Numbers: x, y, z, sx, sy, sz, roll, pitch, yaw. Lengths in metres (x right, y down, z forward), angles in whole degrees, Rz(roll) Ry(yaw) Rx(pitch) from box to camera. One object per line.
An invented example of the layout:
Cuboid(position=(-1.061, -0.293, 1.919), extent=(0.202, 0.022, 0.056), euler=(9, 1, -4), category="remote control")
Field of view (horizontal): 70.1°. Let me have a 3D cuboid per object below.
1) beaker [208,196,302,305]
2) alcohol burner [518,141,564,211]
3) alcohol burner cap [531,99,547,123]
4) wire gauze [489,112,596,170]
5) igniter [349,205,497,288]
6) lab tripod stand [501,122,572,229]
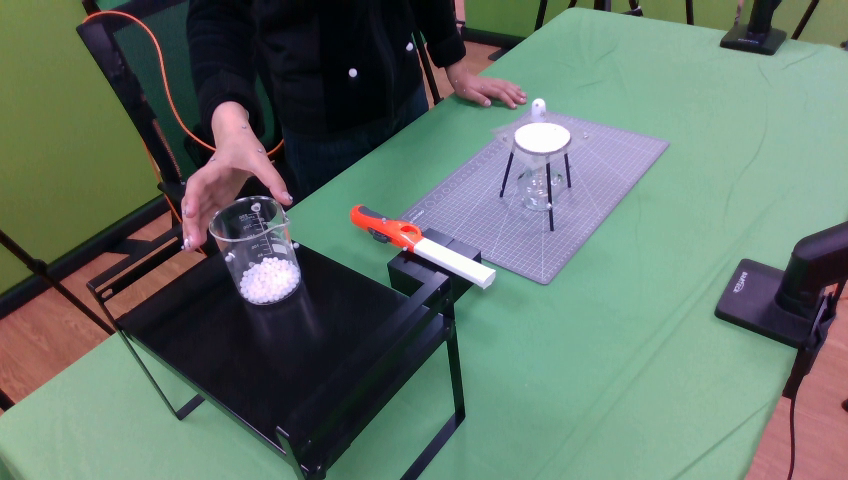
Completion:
Cuboid(position=(-0.173, 0.014, 0.647), extent=(0.084, 0.101, 0.073), euler=(0, 41, 8), category="beaker")
Cuboid(position=(0.193, -0.109, 0.999), extent=(0.078, 0.119, 0.077), euler=(-5, 38, 5), category="alcohol burner")
Cuboid(position=(0.234, -0.264, 1.231), extent=(0.034, 0.048, 0.033), euler=(-5, 41, 5), category="alcohol burner cap")
Cuboid(position=(0.183, -0.161, 0.942), extent=(0.122, 0.011, 0.124), euler=(-24, 44, -18), category="wire gauze")
Cuboid(position=(-0.013, 0.004, 0.897), extent=(0.274, 0.025, 0.057), euler=(25, 45, 32), category="igniter")
Cuboid(position=(0.195, -0.110, 0.985), extent=(0.148, 0.132, 0.147), euler=(-3, 42, 3), category="lab tripod stand")
